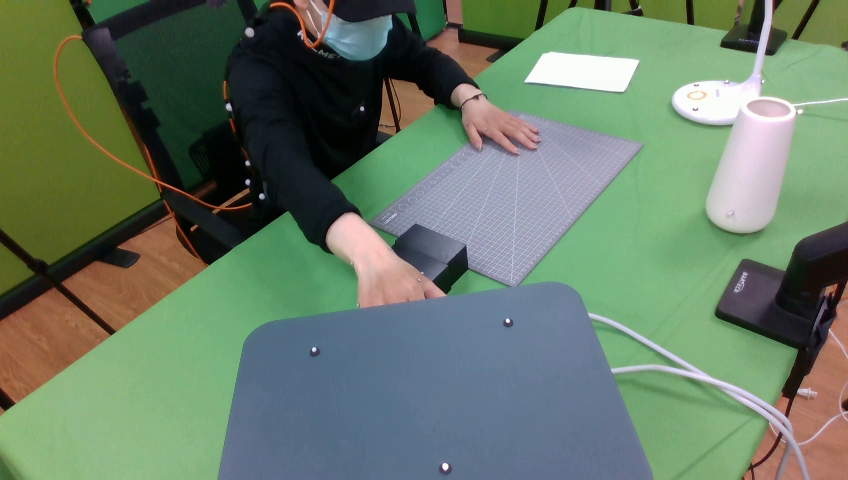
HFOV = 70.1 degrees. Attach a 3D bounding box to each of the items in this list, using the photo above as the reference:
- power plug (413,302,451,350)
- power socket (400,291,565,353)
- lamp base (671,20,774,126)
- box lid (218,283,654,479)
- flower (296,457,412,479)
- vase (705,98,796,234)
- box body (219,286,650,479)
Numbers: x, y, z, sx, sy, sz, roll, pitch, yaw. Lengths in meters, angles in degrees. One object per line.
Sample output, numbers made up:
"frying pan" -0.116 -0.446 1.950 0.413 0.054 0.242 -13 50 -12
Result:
"power plug" 0.009 0.115 0.785 0.035 0.053 0.072 -11 69 -6
"power socket" 0.079 0.111 0.823 0.227 0.033 0.072 -5 41 2
"lamp base" 0.581 -0.332 1.153 0.179 0.181 0.160 2 41 7
"box lid" -0.004 0.154 0.571 0.372 0.015 0.261 -8 40 -1
"flower" 0.017 0.270 0.655 0.360 0.038 0.044 3 18 21
"vase" 0.480 -0.104 0.889 0.098 0.201 0.097 -4 42 4
"box body" 0.005 0.210 0.618 0.364 0.161 0.252 -8 40 -1
